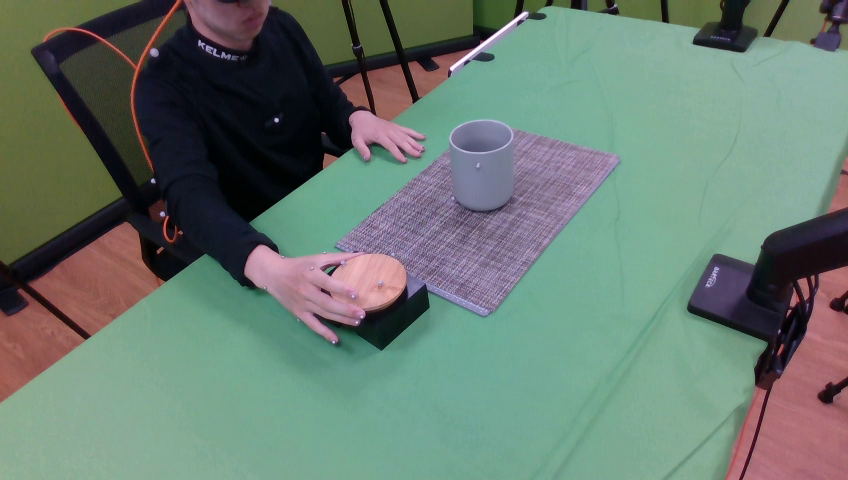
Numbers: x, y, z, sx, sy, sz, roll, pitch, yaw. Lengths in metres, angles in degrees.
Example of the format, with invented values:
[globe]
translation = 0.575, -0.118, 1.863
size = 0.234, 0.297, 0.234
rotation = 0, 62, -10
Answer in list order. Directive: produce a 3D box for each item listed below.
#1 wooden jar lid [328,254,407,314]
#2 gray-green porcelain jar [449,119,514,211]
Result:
[wooden jar lid]
translation = -0.077, 0.062, 0.832
size = 0.108, 0.021, 0.108
rotation = -4, 39, 4
[gray-green porcelain jar]
translation = 0.098, -0.120, 1.008
size = 0.106, 0.127, 0.105
rotation = -4, 41, 4
